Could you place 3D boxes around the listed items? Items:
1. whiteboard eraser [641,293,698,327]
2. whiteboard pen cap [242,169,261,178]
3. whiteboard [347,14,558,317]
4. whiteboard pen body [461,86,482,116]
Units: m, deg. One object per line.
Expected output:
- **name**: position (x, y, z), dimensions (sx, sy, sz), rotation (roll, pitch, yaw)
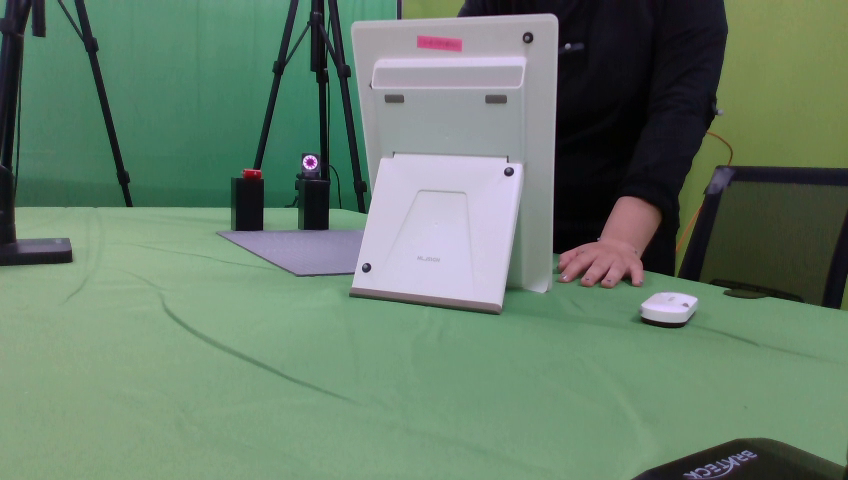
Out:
- **whiteboard eraser**: position (0.240, 0.066, 0.590), dimensions (0.041, 0.019, 0.102), rotation (5, 7, 32)
- **whiteboard pen cap**: position (-0.326, -0.125, 1.144), dimensions (0.032, 0.017, 0.017), rotation (0, 7, -37)
- **whiteboard**: position (0.012, -0.055, 0.608), dimensions (0.216, 0.305, 0.144), rotation (6, 27, 20)
- **whiteboard pen body**: position (0.054, -0.160, 0.700), dimensions (0.017, 0.017, 0.140), rotation (4, 24, 9)
